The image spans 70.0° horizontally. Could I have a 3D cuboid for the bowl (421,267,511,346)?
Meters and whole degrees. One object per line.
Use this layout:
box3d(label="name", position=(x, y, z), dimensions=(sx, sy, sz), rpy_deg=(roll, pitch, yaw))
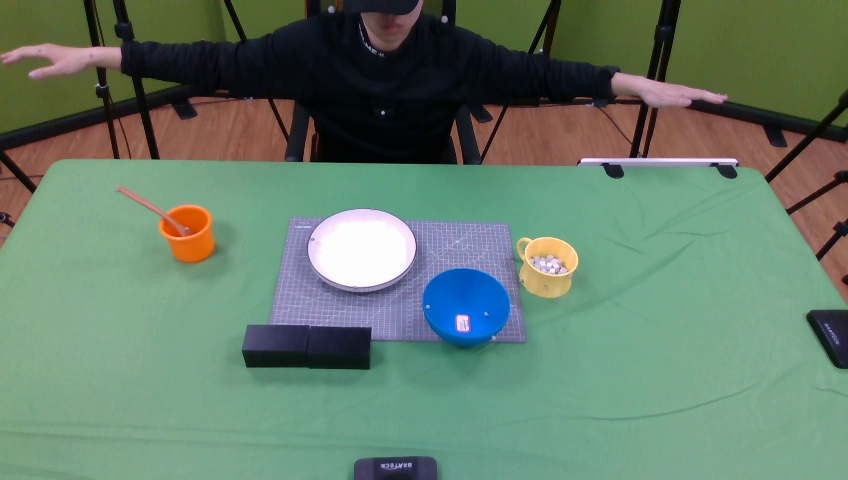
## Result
box3d(label="bowl", position=(0.068, 0.128, 1.037), dimensions=(0.151, 0.077, 0.150), rpy_deg=(3, 46, -2))

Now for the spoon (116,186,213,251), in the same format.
box3d(label="spoon", position=(-0.474, -0.041, 1.112), dimensions=(0.021, 0.195, 0.041), rpy_deg=(-30, 32, 30))

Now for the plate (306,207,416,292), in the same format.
box3d(label="plate", position=(-0.119, 0.021, 1.153), dimensions=(0.209, 0.038, 0.208), rpy_deg=(2, 46, -2))

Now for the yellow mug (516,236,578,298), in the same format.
box3d(label="yellow mug", position=(0.223, 0.041, 1.145), dimensions=(0.100, 0.064, 0.130), rpy_deg=(-30, 54, -28))
